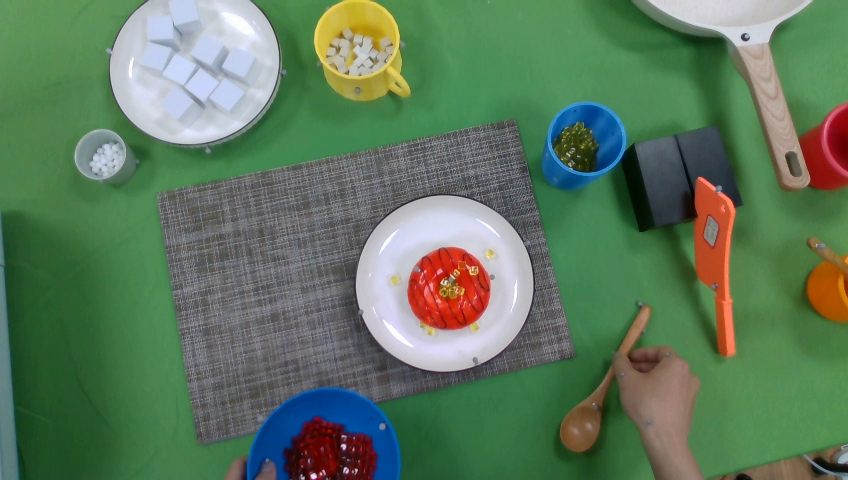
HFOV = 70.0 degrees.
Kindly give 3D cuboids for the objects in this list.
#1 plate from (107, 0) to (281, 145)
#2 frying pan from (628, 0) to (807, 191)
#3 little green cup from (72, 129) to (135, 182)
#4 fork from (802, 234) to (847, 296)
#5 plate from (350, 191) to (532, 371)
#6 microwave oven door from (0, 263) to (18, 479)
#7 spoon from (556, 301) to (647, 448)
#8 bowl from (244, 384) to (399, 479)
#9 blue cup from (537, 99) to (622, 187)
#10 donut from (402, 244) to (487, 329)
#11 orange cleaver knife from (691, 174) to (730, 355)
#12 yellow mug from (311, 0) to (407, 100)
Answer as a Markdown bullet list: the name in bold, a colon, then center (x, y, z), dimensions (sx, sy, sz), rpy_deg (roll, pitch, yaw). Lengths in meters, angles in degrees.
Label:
- **plate**: center (-0.277, -0.214, 0.747), dimensions (0.208, 0.039, 0.207), rpy_deg (0, 82, 0)
- **frying pan**: center (0.369, -0.288, 0.729), dimensions (0.307, 0.103, 0.484), rpy_deg (-7, 74, 0)
- **little green cup**: center (-0.382, -0.099, 0.727), dimensions (0.061, 0.039, 0.061), rpy_deg (0, 82, -1)
- **fork**: center (0.452, 0.031, 0.662), dimensions (0.209, 0.018, 0.028), rpy_deg (25, 79, -41)
- **plate**: center (0.020, 0.048, 0.708), dimensions (0.209, 0.038, 0.208), rpy_deg (0, 83, 0)
- **microwave oven door**: center (-0.480, 0.184, 0.567), dimensions (0.039, 0.244, 0.354), rpy_deg (-10, 82, -1)
- **spoon**: center (0.213, 0.154, 0.706), dimensions (0.041, 0.022, 0.193), rpy_deg (29, 82, 26)
- **bowl**: center (-0.106, 0.227, 0.634), dimensions (0.152, 0.077, 0.150), rpy_deg (3, 77, -11)
- **blue cup**: center (0.171, -0.103, 0.703), dimensions (0.093, 0.100, 0.092), rpy_deg (0, 80, -1)
- **donut**: center (0.024, 0.054, 0.696), dimensions (0.099, 0.048, 0.099), rpy_deg (0, 85, 0)
- **orange cleaver knife**: center (0.328, 0.030, 0.695), dimensions (0.012, 0.076, 0.212), rpy_deg (-13, 111, -2)
- **yellow mug**: center (-0.070, -0.220, 0.736), dimensions (0.130, 0.064, 0.100), rpy_deg (40, 83, 4)
